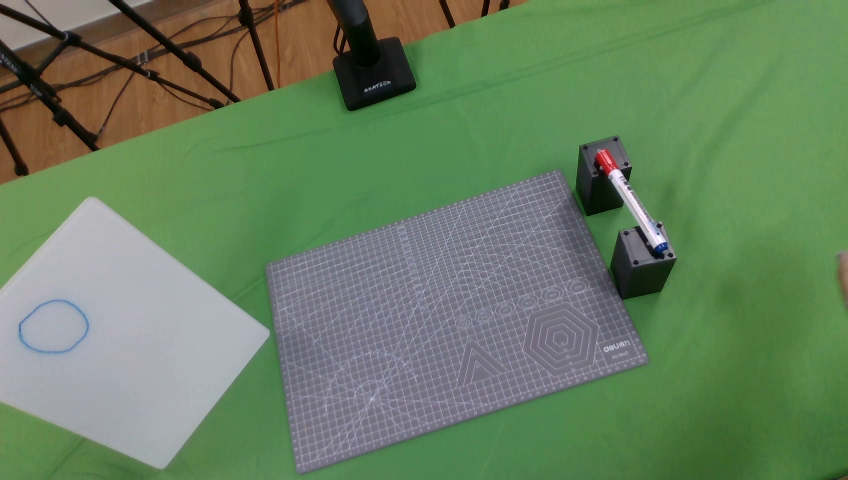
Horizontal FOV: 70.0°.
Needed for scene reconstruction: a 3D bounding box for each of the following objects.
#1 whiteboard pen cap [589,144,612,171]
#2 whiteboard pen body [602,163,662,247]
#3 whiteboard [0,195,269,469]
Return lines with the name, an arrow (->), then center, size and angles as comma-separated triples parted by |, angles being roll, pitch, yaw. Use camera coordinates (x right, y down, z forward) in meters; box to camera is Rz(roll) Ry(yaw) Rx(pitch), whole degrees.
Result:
whiteboard pen cap -> 0.217, -0.100, 0.741 | 0.017, 0.017, 0.032 | -22, 64, -1
whiteboard pen body -> 0.238, -0.051, 0.714 | 0.017, 0.017, 0.139 | -23, 63, -1
whiteboard -> -0.385, 0.103, 0.736 | 0.142, 0.309, 0.216 | 22, 69, 41
